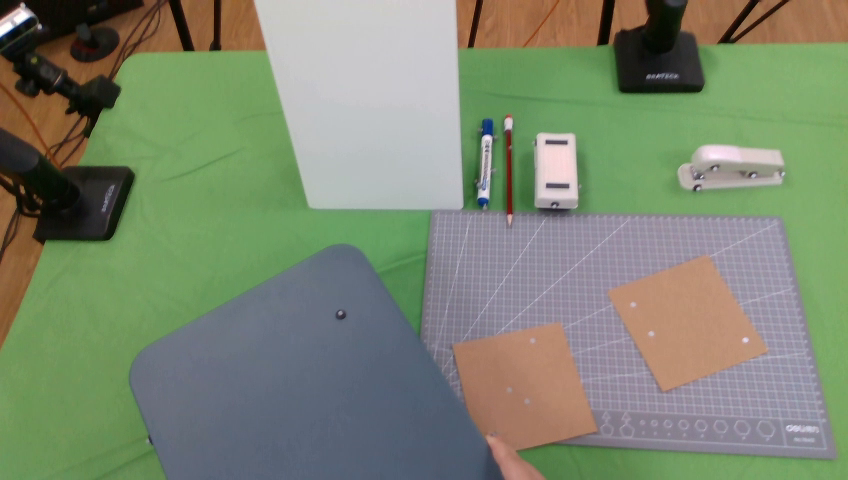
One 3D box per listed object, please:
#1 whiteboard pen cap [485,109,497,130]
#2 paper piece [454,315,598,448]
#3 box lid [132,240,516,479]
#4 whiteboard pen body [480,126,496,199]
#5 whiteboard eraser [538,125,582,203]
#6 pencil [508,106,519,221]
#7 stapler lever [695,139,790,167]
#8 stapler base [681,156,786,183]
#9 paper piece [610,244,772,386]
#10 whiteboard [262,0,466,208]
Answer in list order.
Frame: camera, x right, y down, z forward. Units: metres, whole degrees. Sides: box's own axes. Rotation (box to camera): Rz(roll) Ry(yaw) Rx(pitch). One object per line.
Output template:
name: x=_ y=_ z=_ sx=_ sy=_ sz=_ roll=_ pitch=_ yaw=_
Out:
whiteboard pen cap: x=0.097 y=-0.171 z=0.870 sx=0.018 sy=0.018 sz=0.033 roll=1 pitch=60 yaw=6
paper piece: x=0.113 y=0.160 z=0.693 sx=0.135 sy=0.004 sz=0.134 roll=-12 pitch=61 yaw=0
box lid: x=-0.095 y=0.185 z=0.563 sx=0.263 sy=0.015 sz=0.368 roll=-30 pitch=64 yaw=-13
whiteboard pen body: x=0.090 y=-0.119 z=0.844 sx=0.017 sy=0.017 sz=0.139 roll=3 pitch=62 yaw=8
whiteboard eraser: x=0.181 y=-0.102 z=0.812 sx=0.055 sy=0.042 sz=0.112 roll=1 pitch=62 yaw=8
pencil: x=0.125 y=-0.110 z=0.839 sx=0.012 sy=0.012 sz=0.192 roll=-1 pitch=62 yaw=6
stapler lever: x=0.410 y=-0.113 z=0.778 sx=0.118 sy=0.040 sz=0.026 roll=-3 pitch=64 yaw=3
stapler base: x=0.411 y=-0.101 z=0.799 sx=0.130 sy=0.024 sz=0.041 roll=-3 pitch=64 yaw=2
paper piece: x=0.311 y=0.086 z=0.714 sx=0.136 sy=0.009 sz=0.137 roll=-20 pitch=64 yaw=0
whiteboard: x=-0.052 y=-0.205 z=0.775 sx=0.217 sy=0.308 sz=0.142 roll=2 pitch=43 yaw=7
